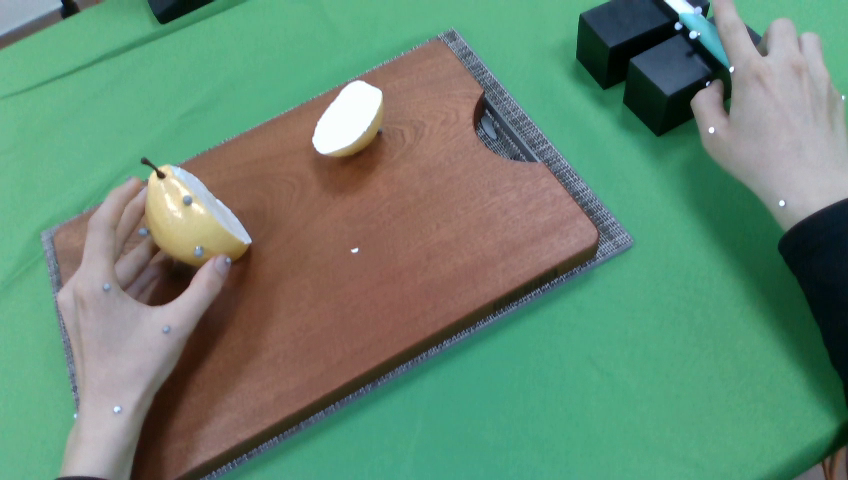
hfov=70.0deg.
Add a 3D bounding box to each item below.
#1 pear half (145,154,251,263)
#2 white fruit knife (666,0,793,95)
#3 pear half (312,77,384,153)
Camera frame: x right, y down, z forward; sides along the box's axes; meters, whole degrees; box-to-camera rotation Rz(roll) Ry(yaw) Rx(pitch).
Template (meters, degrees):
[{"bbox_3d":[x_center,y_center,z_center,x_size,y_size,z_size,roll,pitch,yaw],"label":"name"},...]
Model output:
[{"bbox_3d":[-0.184,-0.022,0.457,0.056,0.111,0.075,-42,53,-10],"label":"pear half"},{"bbox_3d":[0.226,-0.187,0.508,0.027,0.016,0.205,-12,54,-23],"label":"white fruit knife"},{"bbox_3d":[-0.060,-0.104,0.525,0.070,0.031,0.087,-12,44,21],"label":"pear half"}]
